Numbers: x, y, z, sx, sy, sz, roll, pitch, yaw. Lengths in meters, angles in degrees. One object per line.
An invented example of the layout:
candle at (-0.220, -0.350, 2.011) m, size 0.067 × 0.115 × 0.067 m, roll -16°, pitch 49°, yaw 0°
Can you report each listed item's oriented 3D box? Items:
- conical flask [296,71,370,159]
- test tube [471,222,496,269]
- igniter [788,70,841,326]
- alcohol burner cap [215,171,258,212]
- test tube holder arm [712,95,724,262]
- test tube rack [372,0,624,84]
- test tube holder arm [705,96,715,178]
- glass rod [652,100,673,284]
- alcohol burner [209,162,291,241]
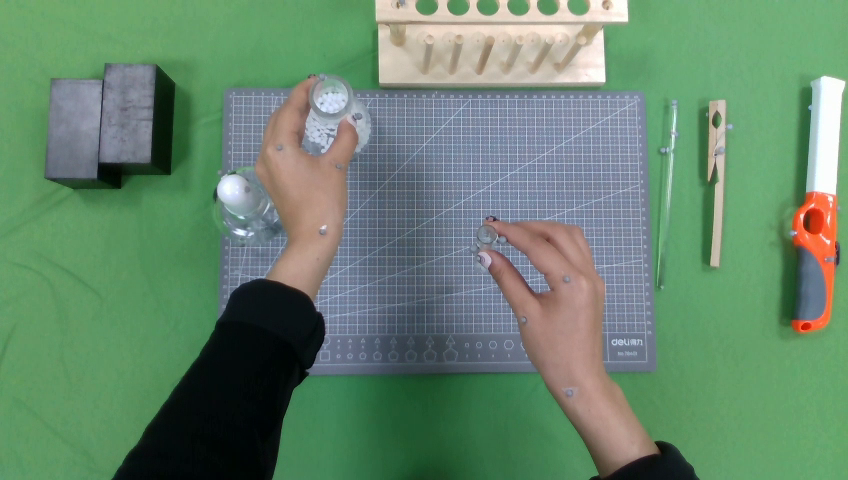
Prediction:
conical flask at (-0.088, -0.123, 0.574) m, size 0.075 × 0.122 × 0.075 m, roll 0°, pitch 88°, yaw -6°
test tube at (0.050, 0.007, 0.517) m, size 0.017 × 0.151 × 0.017 m, roll -1°, pitch 79°, yaw 3°
igniter at (0.417, -0.044, 0.646) m, size 0.057 × 0.025 × 0.276 m, roll 9°, pitch 84°, yaw -11°
alcohol burner cap at (-0.168, -0.045, 0.538) m, size 0.034 × 0.048 × 0.033 m, roll 1°, pitch 80°, yaw -6°
test tube holder arm at (0.313, -0.066, 0.646) m, size 0.013 × 0.015 × 0.178 m, roll -3°, pitch 83°, yaw 34°
test tube rack at (0.070, -0.207, 0.618) m, size 0.242 × 0.085 × 0.066 m, roll -1°, pitch 84°, yaw -3°
test tube holder arm at (0.309, -0.110, 0.653) m, size 0.010 × 0.015 × 0.087 m, roll -1°, pitch 84°, yaw 34°
glass rod at (0.255, -0.052, 0.648) m, size 0.008 × 0.008 × 0.199 m, roll 7°, pitch 86°, yaw -2°
alcohol burner at (-0.169, -0.039, 0.574) m, size 0.078 × 0.119 × 0.077 m, roll 0°, pitch 83°, yaw 0°
